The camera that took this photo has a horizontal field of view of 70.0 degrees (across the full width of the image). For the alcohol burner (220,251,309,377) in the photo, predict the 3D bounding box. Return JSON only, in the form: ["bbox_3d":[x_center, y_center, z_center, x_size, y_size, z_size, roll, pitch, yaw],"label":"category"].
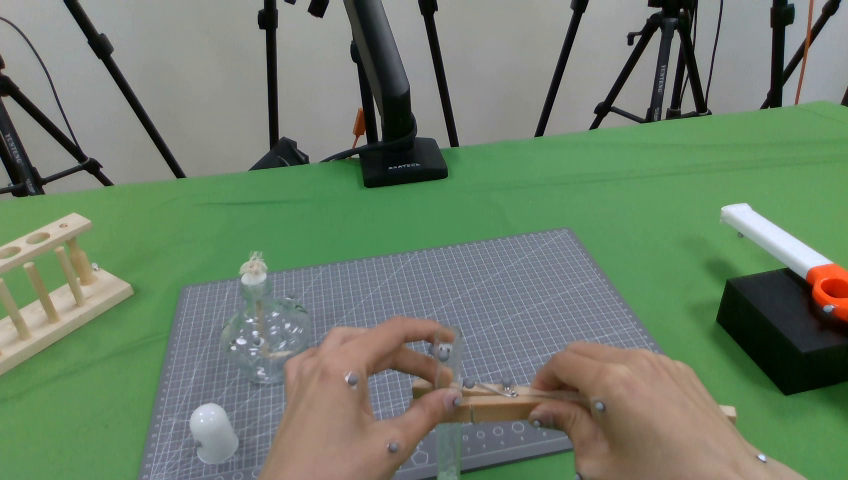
[{"bbox_3d":[-0.142,0.061,0.530,0.078,0.120,0.077,-2,33,2],"label":"alcohol burner"}]

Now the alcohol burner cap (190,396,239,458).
[{"bbox_3d":[-0.167,0.144,0.476,0.034,0.048,0.033,-2,34,2],"label":"alcohol burner cap"}]

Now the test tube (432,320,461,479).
[{"bbox_3d":[0.014,0.108,0.367,0.017,0.151,0.017,-1,35,1],"label":"test tube"}]

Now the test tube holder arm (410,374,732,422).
[{"bbox_3d":[0.080,0.090,0.348,0.178,0.015,0.013,1,34,10],"label":"test tube holder arm"}]

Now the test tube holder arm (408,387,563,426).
[{"bbox_3d":[0.035,0.094,0.347,0.088,0.015,0.010,-7,33,-2],"label":"test tube holder arm"}]

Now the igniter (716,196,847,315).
[{"bbox_3d":[0.354,0.028,0.534,0.057,0.025,0.273,-10,31,-8],"label":"igniter"}]

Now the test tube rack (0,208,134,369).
[{"bbox_3d":[-0.415,0.067,0.575,0.066,0.086,0.242,20,40,30],"label":"test tube rack"}]
